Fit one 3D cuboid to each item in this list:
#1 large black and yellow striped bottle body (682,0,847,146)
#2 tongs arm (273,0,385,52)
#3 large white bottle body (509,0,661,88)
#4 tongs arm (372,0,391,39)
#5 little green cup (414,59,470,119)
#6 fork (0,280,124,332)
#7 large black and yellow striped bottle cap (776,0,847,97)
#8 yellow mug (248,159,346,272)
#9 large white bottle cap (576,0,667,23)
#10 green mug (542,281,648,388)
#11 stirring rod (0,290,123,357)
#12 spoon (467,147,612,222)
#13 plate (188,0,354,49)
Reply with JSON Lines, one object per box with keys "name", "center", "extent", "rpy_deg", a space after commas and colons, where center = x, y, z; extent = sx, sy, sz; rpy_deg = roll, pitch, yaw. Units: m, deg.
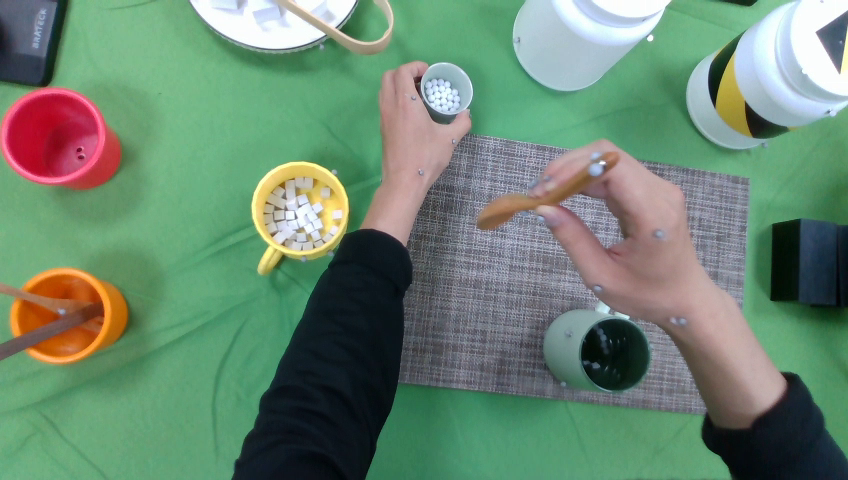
{"name": "large black and yellow striped bottle body", "center": [0.403, -0.193, 0.697], "extent": [0.131, 0.184, 0.130], "rpy_deg": [1, 84, -8]}
{"name": "tongs arm", "center": [-0.212, -0.319, 0.657], "extent": [0.385, 0.026, 0.050], "rpy_deg": [36, 78, -2]}
{"name": "large white bottle body", "center": [0.179, -0.260, 0.669], "extent": [0.131, 0.184, 0.130], "rpy_deg": [1, 84, -8]}
{"name": "tongs arm", "center": [-0.158, -0.381, 0.672], "extent": [0.028, 0.028, 0.387], "rpy_deg": [-40, 89, -16]}
{"name": "little green cup", "center": [0.018, -0.169, 0.689], "extent": [0.062, 0.038, 0.061], "rpy_deg": [3, 79, -15]}
{"name": "fork", "center": [-0.385, 0.048, 0.573], "extent": [0.209, 0.018, 0.028], "rpy_deg": [35, 73, -47]}
{"name": "large black and yellow striped bottle cap", "center": [0.414, -0.203, 0.615], "extent": [0.115, 0.019, 0.114], "rpy_deg": [1, 85, -9]}
{"name": "yellow mug", "center": [-0.144, -0.020, 0.658], "extent": [0.100, 0.064, 0.130], "rpy_deg": [33, 82, -5]}
{"name": "large white bottle cap", "center": [0.191, -0.268, 0.586], "extent": [0.115, 0.018, 0.114], "rpy_deg": [1, 85, -8]}
{"name": "green mug", "center": [0.194, 0.103, 0.675], "extent": [0.093, 0.105, 0.125], "rpy_deg": [24, 82, -5]}
{"name": "stirring rod", "center": [-0.370, 0.088, 0.578], "extent": [0.014, 0.006, 0.176], "rpy_deg": [58, 38, -1]}
{"name": "spoon", "center": [0.067, -0.030, 0.375], "extent": [0.042, 0.193, 0.021], "rpy_deg": [-21, 92, -14]}
{"name": "plate", "center": [-0.175, -0.316, 0.695], "extent": [0.208, 0.039, 0.207], "rpy_deg": [1, 85, -8]}
